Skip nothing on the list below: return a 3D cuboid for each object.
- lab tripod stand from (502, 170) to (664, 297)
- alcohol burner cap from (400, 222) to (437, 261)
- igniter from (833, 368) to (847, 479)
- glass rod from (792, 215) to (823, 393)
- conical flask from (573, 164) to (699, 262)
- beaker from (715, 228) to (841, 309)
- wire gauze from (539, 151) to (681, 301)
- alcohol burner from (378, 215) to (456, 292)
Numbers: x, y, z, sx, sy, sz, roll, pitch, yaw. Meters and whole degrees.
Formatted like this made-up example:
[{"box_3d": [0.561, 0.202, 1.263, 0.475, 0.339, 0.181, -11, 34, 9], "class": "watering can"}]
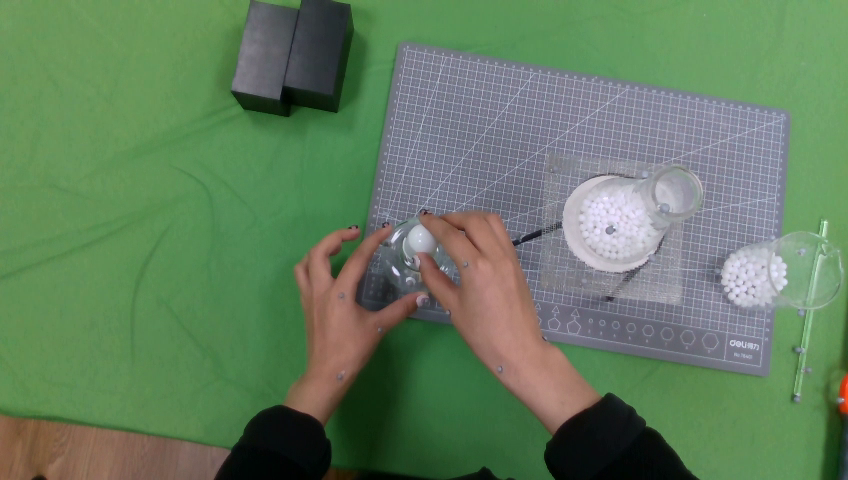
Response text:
[{"box_3d": [0.159, -0.007, 0.590, 0.148, 0.131, 0.148, 0, 84, -2], "class": "lab tripod stand"}, {"box_3d": [-0.004, -0.001, 0.537, 0.034, 0.048, 0.033, 2, 78, -7], "class": "alcohol burner cap"}, {"box_3d": [0.468, 0.135, 0.644, 0.057, 0.025, 0.275, 13, 82, -11], "class": "igniter"}, {"box_3d": [0.419, 0.068, 0.660, 0.008, 0.008, 0.199, 14, 82, -1], "class": "glass rod"}, {"box_3d": [0.166, -0.025, 0.467, 0.075, 0.122, 0.075, 0, 82, -2], "class": "conical flask"}, {"box_3d": [0.353, 0.031, 0.612, 0.084, 0.100, 0.074, -27, 84, -6], "class": "beaker"}, {"box_3d": [0.161, -0.013, 0.525, 0.125, 0.011, 0.121, 6, 85, -4], "class": "wire gauze"}, {"box_3d": [-0.006, 0.011, 0.590, 0.078, 0.119, 0.077, 1, 80, -3], "class": "alcohol burner"}]
